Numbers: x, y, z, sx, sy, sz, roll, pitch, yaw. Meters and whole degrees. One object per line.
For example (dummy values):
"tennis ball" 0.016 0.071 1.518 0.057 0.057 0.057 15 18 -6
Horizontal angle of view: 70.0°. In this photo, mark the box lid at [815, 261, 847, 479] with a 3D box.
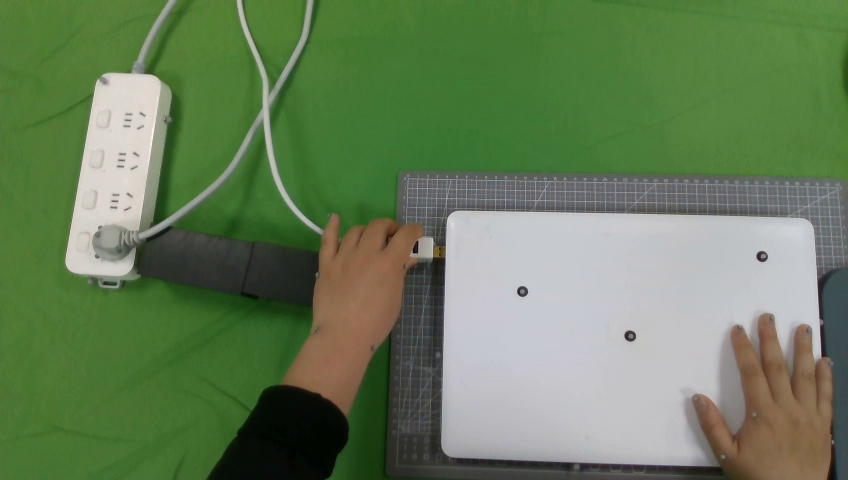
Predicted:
"box lid" 0.502 0.201 0.557 0.263 0.015 0.370 1 81 1

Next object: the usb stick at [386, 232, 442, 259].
"usb stick" -0.008 0.006 0.589 0.059 0.027 0.021 1 71 -6

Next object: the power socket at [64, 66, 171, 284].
"power socket" -0.308 -0.070 0.615 0.072 0.033 0.226 4 81 2

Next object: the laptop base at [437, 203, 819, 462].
"laptop base" 0.192 0.085 0.581 0.354 0.023 0.235 1 85 1

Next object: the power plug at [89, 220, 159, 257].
"power plug" -0.285 0.004 0.582 0.072 0.053 0.035 17 80 3

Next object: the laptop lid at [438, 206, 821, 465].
"laptop lid" 0.191 0.086 0.571 0.357 0.013 0.241 3 84 2
